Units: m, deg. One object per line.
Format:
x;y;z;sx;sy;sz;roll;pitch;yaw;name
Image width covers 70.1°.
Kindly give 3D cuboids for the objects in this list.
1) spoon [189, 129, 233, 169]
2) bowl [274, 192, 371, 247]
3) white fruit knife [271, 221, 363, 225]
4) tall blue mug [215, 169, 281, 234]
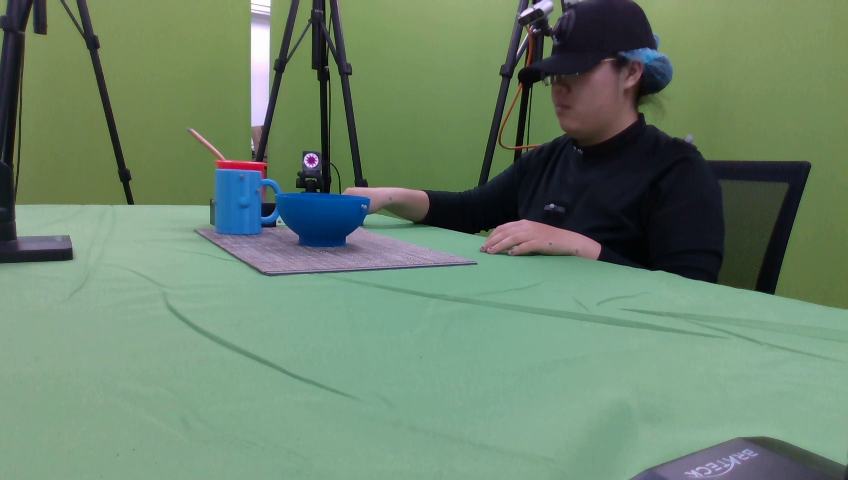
-0.388;-0.150;1.174;0.193;0.021;0.042;49;20;7;spoon
-0.161;-0.033;0.958;0.151;0.077;0.151;3;8;0;bowl
-0.219;-0.038;1.262;0.208;0.016;0.027;-2;-14;-30;white fruit knife
-0.313;-0.069;1.061;0.077;0.108;0.108;6;8;31;tall blue mug
